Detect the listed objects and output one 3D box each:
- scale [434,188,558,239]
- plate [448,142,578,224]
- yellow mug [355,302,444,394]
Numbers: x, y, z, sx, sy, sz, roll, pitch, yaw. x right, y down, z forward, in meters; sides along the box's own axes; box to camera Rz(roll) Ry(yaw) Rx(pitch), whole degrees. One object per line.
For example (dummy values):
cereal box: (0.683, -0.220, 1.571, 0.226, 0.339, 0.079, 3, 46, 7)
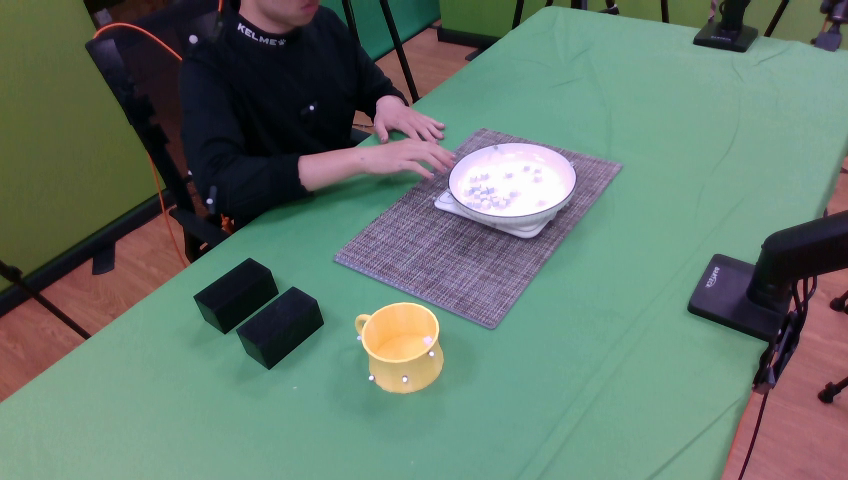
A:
scale: (0.132, -0.075, 1.025, 0.199, 0.032, 0.149, 22, 48, 30)
plate: (0.145, -0.089, 0.989, 0.209, 0.038, 0.208, -4, 41, 4)
yellow mug: (-0.040, 0.133, 0.786, 0.130, 0.064, 0.100, 20, 47, 29)
